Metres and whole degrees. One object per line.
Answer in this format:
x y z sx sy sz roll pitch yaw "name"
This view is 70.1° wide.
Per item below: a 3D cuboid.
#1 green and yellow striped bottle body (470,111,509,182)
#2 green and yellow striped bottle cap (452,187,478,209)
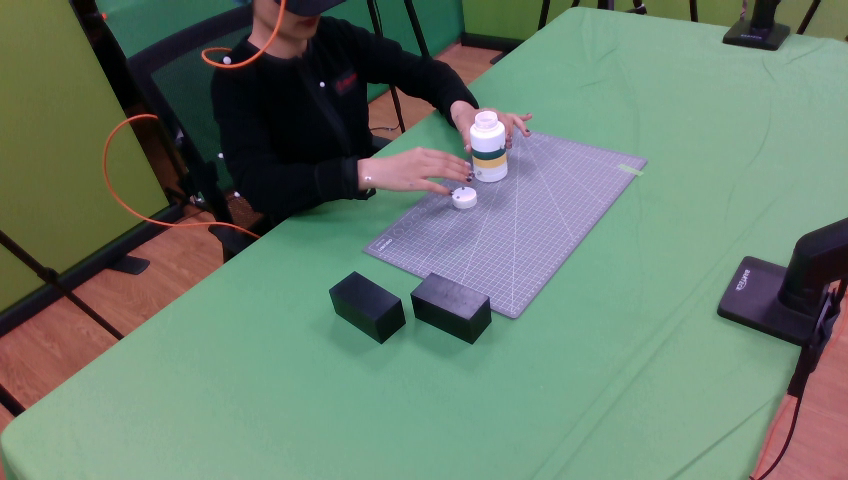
0.116 -0.169 1.079 0.063 0.120 0.063 -6 40 6 "green and yellow striped bottle body"
0.072 -0.074 1.058 0.045 0.020 0.045 -6 40 6 "green and yellow striped bottle cap"
